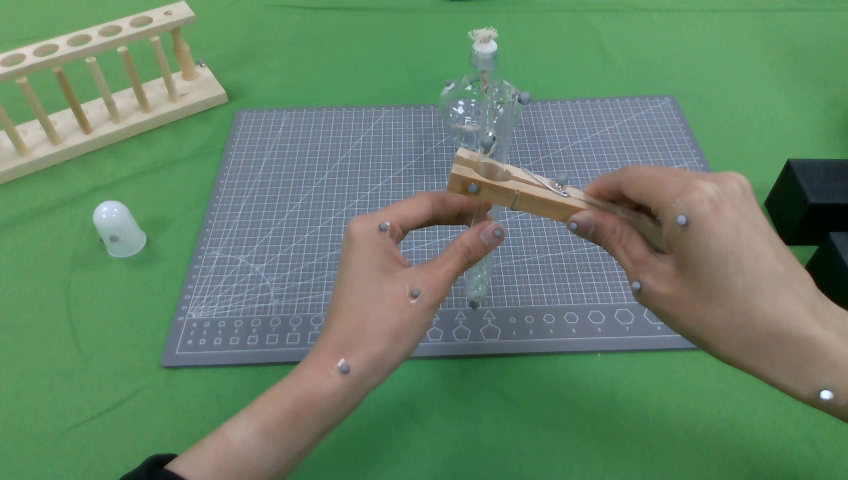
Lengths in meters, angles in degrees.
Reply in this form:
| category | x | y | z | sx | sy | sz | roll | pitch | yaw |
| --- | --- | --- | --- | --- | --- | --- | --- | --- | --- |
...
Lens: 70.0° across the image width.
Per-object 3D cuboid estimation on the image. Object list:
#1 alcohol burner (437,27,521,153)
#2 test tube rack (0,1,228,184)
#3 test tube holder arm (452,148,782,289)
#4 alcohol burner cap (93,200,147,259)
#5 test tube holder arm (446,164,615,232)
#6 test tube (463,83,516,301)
| category | x | y | z | sx | sy | sz | roll | pitch | yaw |
| --- | --- | --- | --- | --- | --- | --- | --- | --- | --- |
| alcohol burner | 0.050 | -0.138 | 0.544 | 0.078 | 0.120 | 0.077 | 0 | 50 | 0 |
| test tube rack | -0.326 | -0.143 | 0.582 | 0.242 | 0.086 | 0.066 | -26 | 53 | -20 |
| test tube holder arm | 0.099 | -0.012 | 0.317 | 0.178 | 0.015 | 0.013 | 20 | 52 | 2 |
| alcohol burner cap | -0.251 | -0.011 | 0.495 | 0.034 | 0.048 | 0.033 | 0 | 48 | 1 |
| test tube holder arm | 0.055 | -0.021 | 0.314 | 0.088 | 0.015 | 0.010 | 14 | 51 | -2 |
| test tube | 0.033 | -0.017 | 0.332 | 0.017 | 0.151 | 0.017 | 1 | 46 | 0 |
